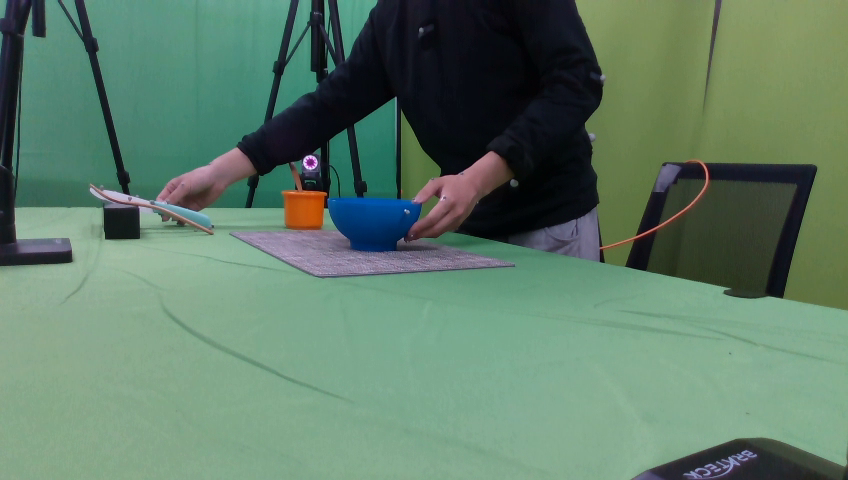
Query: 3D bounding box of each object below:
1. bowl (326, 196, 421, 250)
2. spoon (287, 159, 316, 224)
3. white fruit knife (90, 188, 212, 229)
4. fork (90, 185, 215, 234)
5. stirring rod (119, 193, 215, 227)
[{"bbox_3d":[-0.081,-0.027,0.957,0.151,0.077,0.151,2,7,0],"label":"bowl"},{"bbox_3d":[-0.261,-0.104,1.264,0.042,0.193,0.021,-1,-37,-29],"label":"spoon"},{"bbox_3d":[-0.479,-0.058,1.074,0.208,0.027,0.016,17,-2,-30],"label":"white fruit knife"},{"bbox_3d":[-0.452,-0.049,1.018,0.208,0.018,0.028,21,-7,-33],"label":"fork"},{"bbox_3d":[-0.483,-0.056,1.142,0.177,0.006,0.014,21,-5,-28],"label":"stirring rod"}]
